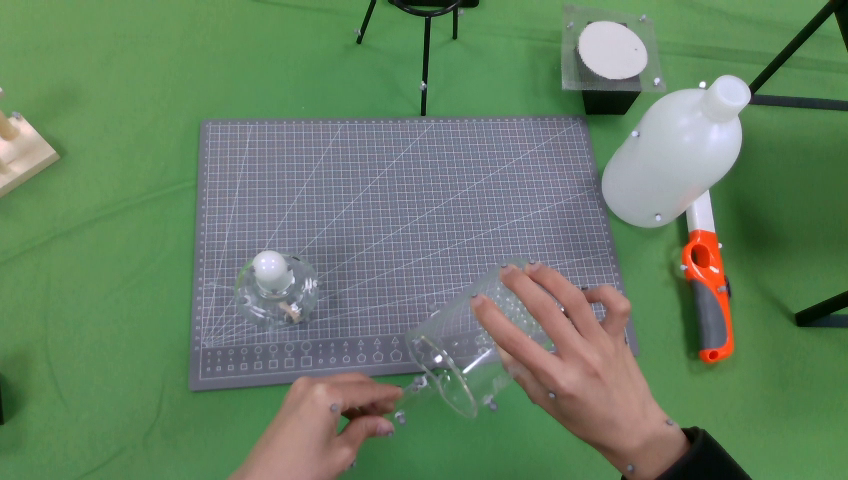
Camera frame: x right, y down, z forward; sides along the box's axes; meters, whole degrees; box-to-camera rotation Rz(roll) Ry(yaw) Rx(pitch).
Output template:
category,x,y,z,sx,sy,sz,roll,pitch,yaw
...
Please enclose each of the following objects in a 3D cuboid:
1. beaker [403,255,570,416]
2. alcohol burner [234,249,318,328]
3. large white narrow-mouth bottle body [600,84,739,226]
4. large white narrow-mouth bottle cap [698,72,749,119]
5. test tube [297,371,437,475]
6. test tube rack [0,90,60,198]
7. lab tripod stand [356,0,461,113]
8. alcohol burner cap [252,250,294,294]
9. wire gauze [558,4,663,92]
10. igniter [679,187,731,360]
category,x,y,z,sx,sy,sz,roll,pitch,yaw
beaker,0.047,0.065,0.432,0.100,0.084,0.073,-36,77,-20
alcohol burner,-0.137,0.039,0.558,0.078,0.119,0.077,4,65,-8
large white narrow-mouth bottle body,0.260,-0.095,0.626,0.102,0.195,0.101,2,67,-5
large white narrow-mouth bottle cap,0.269,-0.131,0.547,0.038,0.024,0.037,3,67,-6
test tube,-0.048,0.147,0.477,0.150,0.017,0.017,-39,72,21
test tube rack,-0.486,-0.048,0.566,0.066,0.085,0.242,43,69,11
lab tripod stand,-0.007,-0.241,0.684,0.149,0.132,0.147,3,68,-8
alcohol burner cap,-0.133,0.026,0.525,0.034,0.048,0.033,1,72,-3
wire gauze,0.220,-0.228,0.724,0.122,0.011,0.124,5,67,-5
igniter,0.311,0.000,0.684,0.057,0.025,0.274,10,66,-17
